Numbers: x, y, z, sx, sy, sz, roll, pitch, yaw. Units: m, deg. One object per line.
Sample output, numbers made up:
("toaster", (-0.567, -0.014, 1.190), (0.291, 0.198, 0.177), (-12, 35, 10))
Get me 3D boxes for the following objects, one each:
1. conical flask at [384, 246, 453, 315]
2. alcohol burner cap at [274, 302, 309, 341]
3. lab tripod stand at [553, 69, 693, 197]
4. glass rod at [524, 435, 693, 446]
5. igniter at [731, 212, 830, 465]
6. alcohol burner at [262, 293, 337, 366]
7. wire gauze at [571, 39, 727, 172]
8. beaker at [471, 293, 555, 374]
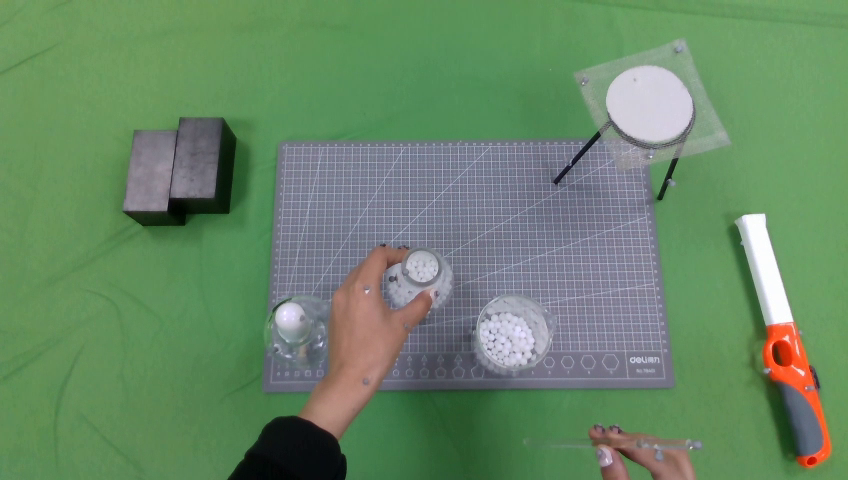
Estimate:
("conical flask", (-0.005, 0.034, 0.606), (0.075, 0.122, 0.075), (0, 79, -2))
("alcohol burner cap", (-0.130, 0.076, 0.590), (0.034, 0.048, 0.033), (2, 66, -5))
("lab tripod stand", (0.225, -0.113, 0.675), (0.148, 0.132, 0.147), (0, 75, -1))
("glass rod", (0.130, 0.155, 0.466), (0.008, 0.200, 0.008), (7, 71, -20))
("igniter", (0.392, 0.101, 0.669), (0.057, 0.025, 0.275), (-4, 74, -12))
("alcohol burner", (-0.131, 0.089, 0.624), (0.078, 0.120, 0.077), (1, 72, -1))
("wire gauze", (0.227, -0.136, 0.612), (0.125, 0.011, 0.121), (-16, 76, -5))
("beaker", (0.088, 0.100, 0.629), (0.084, 0.101, 0.073), (-18, 74, -6))
